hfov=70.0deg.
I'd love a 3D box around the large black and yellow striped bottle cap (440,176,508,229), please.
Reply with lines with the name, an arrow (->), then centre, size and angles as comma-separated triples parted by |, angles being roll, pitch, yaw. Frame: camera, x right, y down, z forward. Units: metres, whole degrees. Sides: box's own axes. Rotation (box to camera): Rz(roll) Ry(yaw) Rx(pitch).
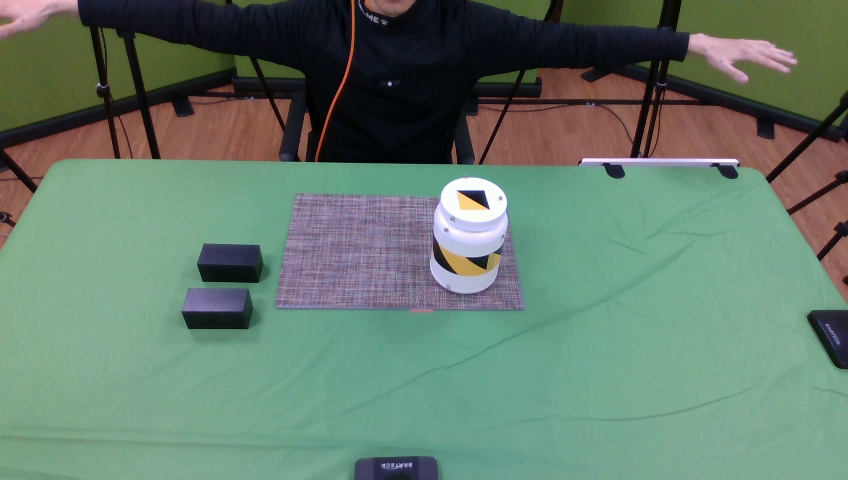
large black and yellow striped bottle cap -> 0.085, -0.066, 1.032 | 0.115, 0.019, 0.114 | 1, 47, -1

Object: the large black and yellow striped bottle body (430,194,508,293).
large black and yellow striped bottle body -> 0.080, -0.008, 1.092 | 0.131, 0.185, 0.130 | 2, 46, -2
